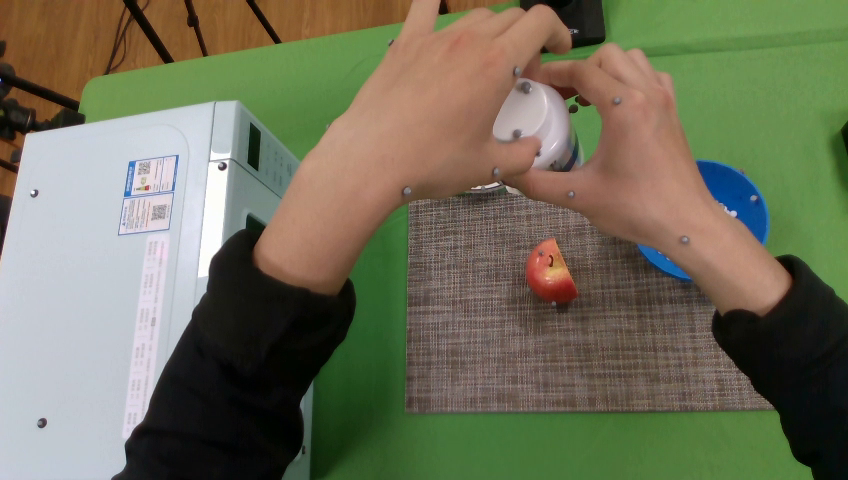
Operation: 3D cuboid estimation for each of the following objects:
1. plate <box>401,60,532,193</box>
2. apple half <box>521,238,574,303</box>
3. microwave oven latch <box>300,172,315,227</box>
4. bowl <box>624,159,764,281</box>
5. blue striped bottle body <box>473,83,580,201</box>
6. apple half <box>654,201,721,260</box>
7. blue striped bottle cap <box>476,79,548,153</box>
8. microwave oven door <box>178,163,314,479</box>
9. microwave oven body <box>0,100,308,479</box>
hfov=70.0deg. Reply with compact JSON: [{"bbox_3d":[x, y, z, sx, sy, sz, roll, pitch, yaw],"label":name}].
[{"bbox_3d":[0.072,-0.161,0.879,0.207,0.039,0.206,-4,72,13],"label":"plate"},{"bbox_3d":[0.151,0.044,0.767,0.053,0.075,0.080,-24,72,10],"label":"apple half"},{"bbox_3d":[-0.177,-0.058,0.890,0.030,0.030,0.078,-8,71,12],"label":"microwave oven latch"},{"bbox_3d":[0.321,-0.015,0.739,0.151,0.077,0.150,-5,71,14],"label":"bowl"},{"bbox_3d":[0.074,-0.071,0.438,0.063,0.121,0.063,-4,79,21],"label":"blue striped bottle body"},{"bbox_3d":[0.321,-0.015,0.734,0.081,0.033,0.081,-5,70,13],"label":"apple half"},{"bbox_3d":[0.056,-0.080,0.390,0.044,0.021,0.044,-4,78,17],"label":"blue striped bottle cap"},{"bbox_3d":[-0.199,0.117,0.728,0.039,0.246,0.353,-6,71,13],"label":"microwave oven door"},{"bbox_3d":[-0.341,0.094,0.778,0.325,0.262,0.439,-6,72,12],"label":"microwave oven body"}]
